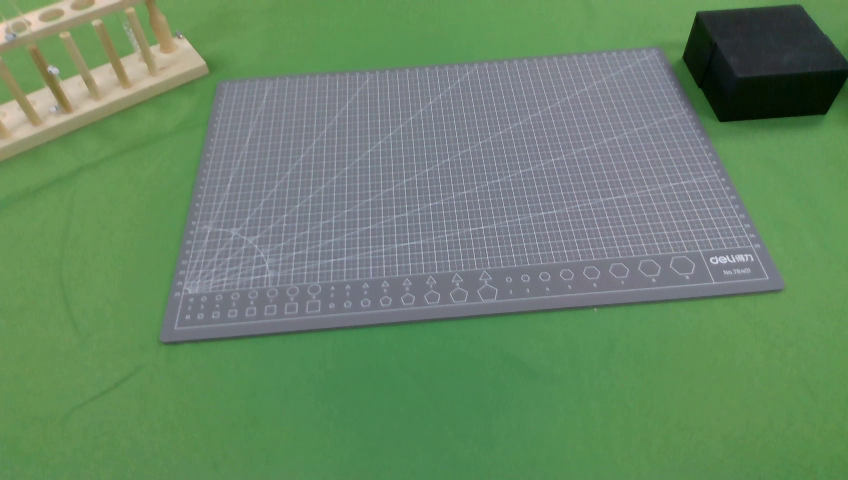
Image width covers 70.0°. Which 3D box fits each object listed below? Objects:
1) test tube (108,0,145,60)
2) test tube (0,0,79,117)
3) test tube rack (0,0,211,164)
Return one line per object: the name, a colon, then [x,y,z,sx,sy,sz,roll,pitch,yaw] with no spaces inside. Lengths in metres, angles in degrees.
test tube: [-0.294,-0.237,0.566,0.017,0.152,0.017,-4,48,5]
test tube: [-0.341,-0.170,0.522,0.017,0.152,0.017,-2,49,3]
test tube rack: [-0.339,-0.158,0.570,0.242,0.086,0.066,-30,56,-20]
